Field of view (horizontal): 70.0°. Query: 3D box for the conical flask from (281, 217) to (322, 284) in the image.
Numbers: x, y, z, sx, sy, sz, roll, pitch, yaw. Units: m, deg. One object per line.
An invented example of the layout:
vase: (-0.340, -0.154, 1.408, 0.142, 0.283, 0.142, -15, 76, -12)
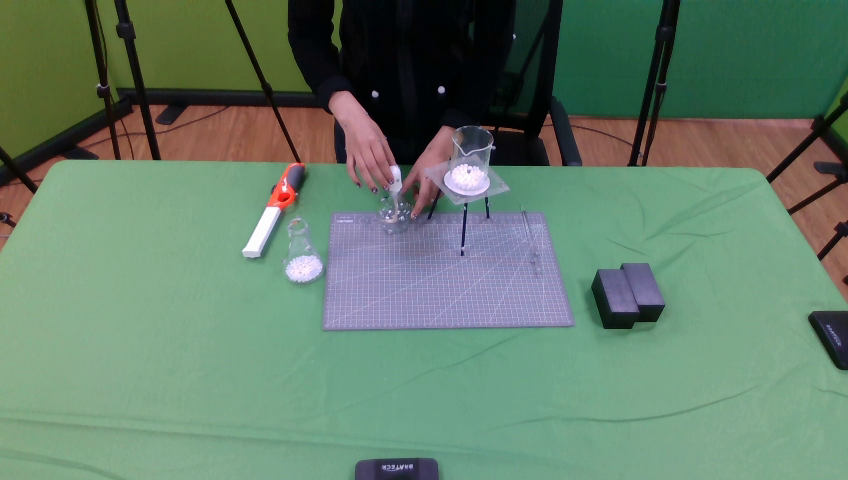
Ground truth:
conical flask: (-0.225, 0.016, 1.097, 0.075, 0.122, 0.075, 3, 46, -2)

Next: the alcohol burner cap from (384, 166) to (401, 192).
alcohol burner cap: (-0.060, -0.118, 1.149, 0.034, 0.048, 0.033, -1, 45, 1)

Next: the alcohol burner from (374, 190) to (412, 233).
alcohol burner: (-0.060, -0.071, 1.196, 0.078, 0.119, 0.077, 3, 47, -4)

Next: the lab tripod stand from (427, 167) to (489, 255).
lab tripod stand: (0.076, -0.068, 1.191, 0.148, 0.132, 0.147, 2, 44, -2)

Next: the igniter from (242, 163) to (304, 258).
igniter: (-0.305, -0.069, 1.239, 0.057, 0.025, 0.275, 2, 45, 12)

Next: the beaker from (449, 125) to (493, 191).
beaker: (0.083, -0.146, 1.108, 0.074, 0.101, 0.083, 15, 47, 11)

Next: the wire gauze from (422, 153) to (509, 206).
wire gauze: (0.078, -0.114, 1.144, 0.125, 0.011, 0.120, -21, 49, -20)

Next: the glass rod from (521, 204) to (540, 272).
glass rod: (0.215, -0.008, 1.230, 0.008, 0.008, 0.198, 0, 43, -3)
